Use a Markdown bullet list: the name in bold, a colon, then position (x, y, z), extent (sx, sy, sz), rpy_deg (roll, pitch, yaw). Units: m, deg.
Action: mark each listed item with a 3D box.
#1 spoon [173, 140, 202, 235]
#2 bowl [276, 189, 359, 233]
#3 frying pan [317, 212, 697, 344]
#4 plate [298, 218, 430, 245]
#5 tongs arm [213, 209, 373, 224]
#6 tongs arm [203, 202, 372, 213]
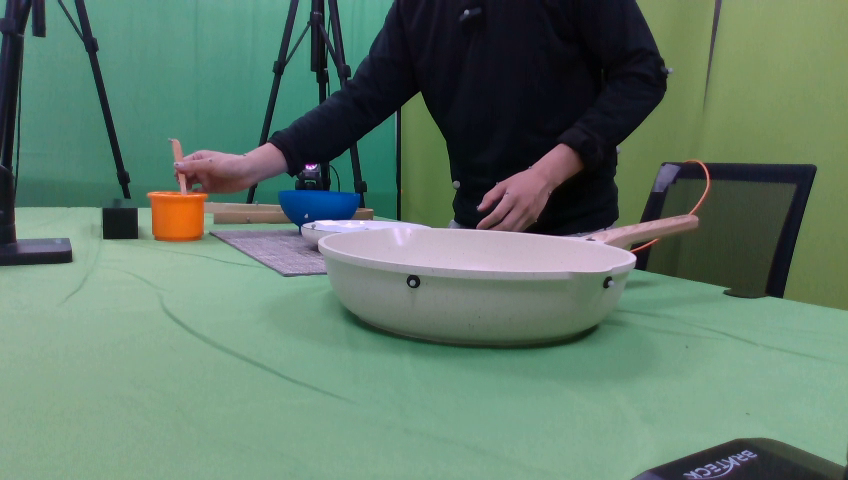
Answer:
- **spoon**: position (-0.406, -0.091, 1.022), extent (0.042, 0.193, 0.021), rpy_deg (-2, -24, -30)
- **bowl**: position (-0.195, -0.053, 1.116), extent (0.151, 0.077, 0.151), rpy_deg (2, 7, 0)
- **frying pan**: position (0.133, 0.013, 0.629), extent (0.490, 0.102, 0.305), rpy_deg (-12, 14, -31)
- **plate**: position (-0.091, -0.006, 0.949), extent (0.208, 0.039, 0.207), rpy_deg (2, 7, 0)
- **tongs arm**: position (-0.274, -0.054, 1.347), extent (0.390, 0.028, 0.028), rpy_deg (-3, 7, -37)
- **tongs arm**: position (-0.312, -0.069, 1.417), extent (0.387, 0.026, 0.050), rpy_deg (0, 9, -24)
